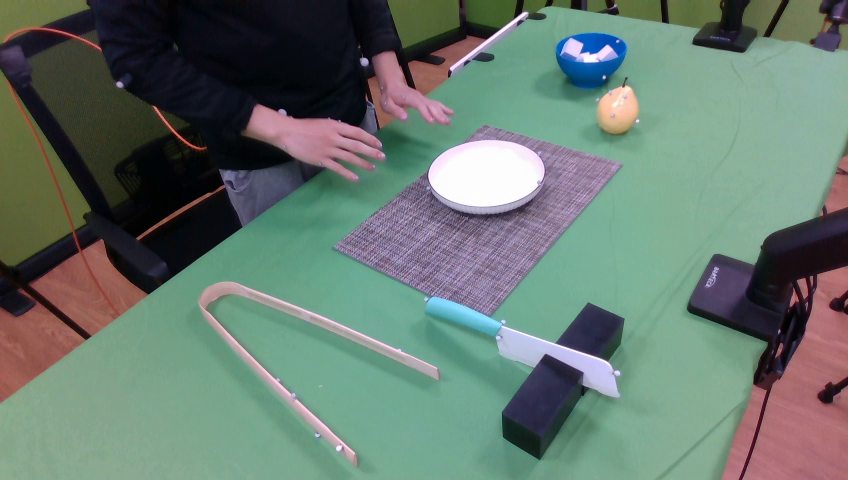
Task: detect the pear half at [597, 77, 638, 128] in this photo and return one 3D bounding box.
[{"bbox_3d":[0.373,-0.266,1.155,0.076,0.110,0.056,10,43,4],"label":"pear half"}]

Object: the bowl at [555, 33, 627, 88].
[{"bbox_3d":[0.360,-0.384,1.317,0.151,0.077,0.150,-4,41,4],"label":"bowl"}]

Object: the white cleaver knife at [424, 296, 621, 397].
[{"bbox_3d":[0.110,0.132,0.761,0.284,0.066,0.021,17,42,39],"label":"white cleaver knife"}]

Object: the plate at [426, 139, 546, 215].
[{"bbox_3d":[0.109,-0.107,1.058,0.207,0.039,0.206,-4,40,4],"label":"plate"}]

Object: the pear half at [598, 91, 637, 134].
[{"bbox_3d":[0.365,-0.235,1.137,0.070,0.088,0.031,10,43,5],"label":"pear half"}]

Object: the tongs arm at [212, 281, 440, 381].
[{"bbox_3d":[-0.148,0.121,0.846,0.385,0.028,0.028,17,48,26],"label":"tongs arm"}]

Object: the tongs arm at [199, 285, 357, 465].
[{"bbox_3d":[-0.199,0.162,0.798,0.381,0.026,0.051,28,50,35],"label":"tongs arm"}]
